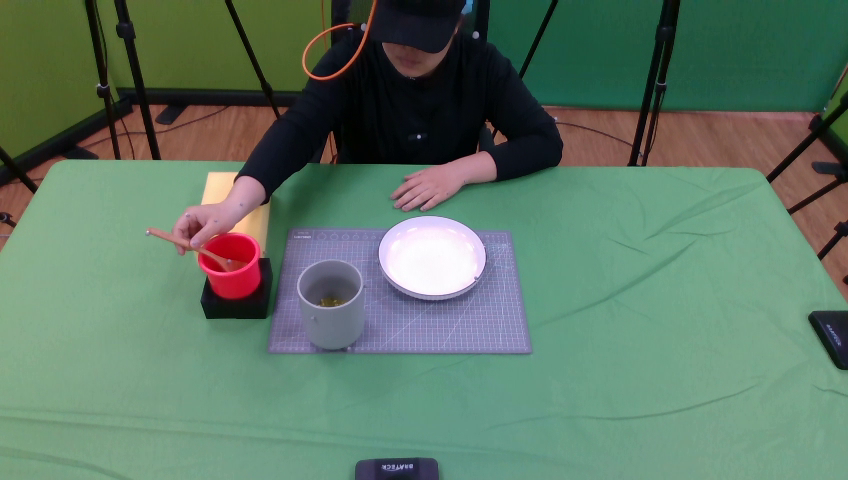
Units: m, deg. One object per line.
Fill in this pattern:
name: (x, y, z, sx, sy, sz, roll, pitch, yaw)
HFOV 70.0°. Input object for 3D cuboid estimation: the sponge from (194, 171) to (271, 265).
sponge: (-0.371, -0.047, 1.189, 0.118, 0.061, 0.205, -3, 47, -6)

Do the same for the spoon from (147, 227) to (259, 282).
spoon: (-0.359, 0.021, 0.996, 0.021, 0.195, 0.041, -29, 44, 33)

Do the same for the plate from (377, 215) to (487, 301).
plate: (0.015, 0.037, 1.147, 0.208, 0.039, 0.206, 2, 46, -2)

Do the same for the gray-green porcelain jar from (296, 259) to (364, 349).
gray-green porcelain jar: (-0.152, 0.111, 1.003, 0.106, 0.127, 0.105, 2, 46, -2)
